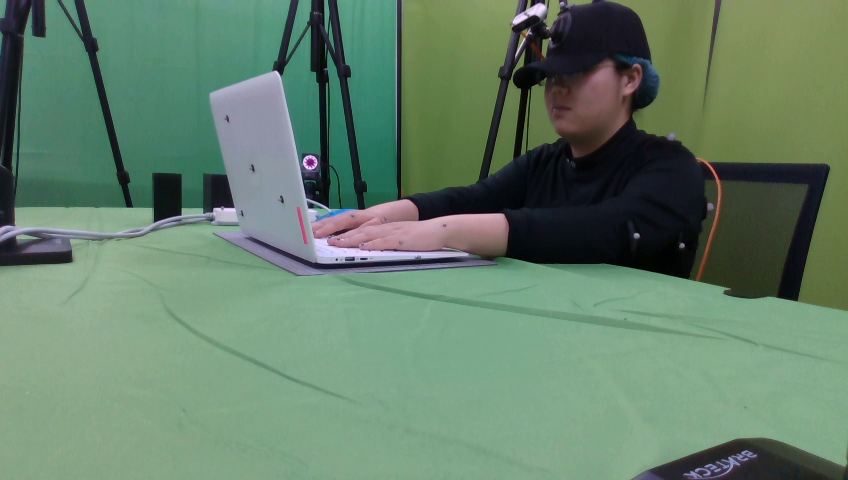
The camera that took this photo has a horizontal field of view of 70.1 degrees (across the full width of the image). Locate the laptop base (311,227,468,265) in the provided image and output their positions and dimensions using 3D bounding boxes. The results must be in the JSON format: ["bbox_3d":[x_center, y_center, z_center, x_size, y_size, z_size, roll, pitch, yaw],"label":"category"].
[{"bbox_3d":[-0.123,0.007,0.951,0.237,0.023,0.352,2,6,-32],"label":"laptop base"}]

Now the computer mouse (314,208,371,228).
[{"bbox_3d":[-0.173,-0.046,1.284,0.118,0.041,0.062,-7,13,-29],"label":"computer mouse"}]

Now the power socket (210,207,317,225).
[{"bbox_3d":[-0.334,-0.051,1.281,0.228,0.032,0.072,-1,8,-28],"label":"power socket"}]

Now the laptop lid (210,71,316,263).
[{"bbox_3d":[-0.240,-0.104,0.861,0.013,0.241,0.355,-16,17,-29],"label":"laptop lid"}]

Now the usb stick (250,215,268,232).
[{"bbox_3d":[-0.290,-0.028,1.069,0.021,0.027,0.059,-1,11,-30],"label":"usb stick"}]

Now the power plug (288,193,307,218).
[{"bbox_3d":[-0.281,-0.076,1.340,0.035,0.052,0.072,4,6,-18],"label":"power plug"}]
